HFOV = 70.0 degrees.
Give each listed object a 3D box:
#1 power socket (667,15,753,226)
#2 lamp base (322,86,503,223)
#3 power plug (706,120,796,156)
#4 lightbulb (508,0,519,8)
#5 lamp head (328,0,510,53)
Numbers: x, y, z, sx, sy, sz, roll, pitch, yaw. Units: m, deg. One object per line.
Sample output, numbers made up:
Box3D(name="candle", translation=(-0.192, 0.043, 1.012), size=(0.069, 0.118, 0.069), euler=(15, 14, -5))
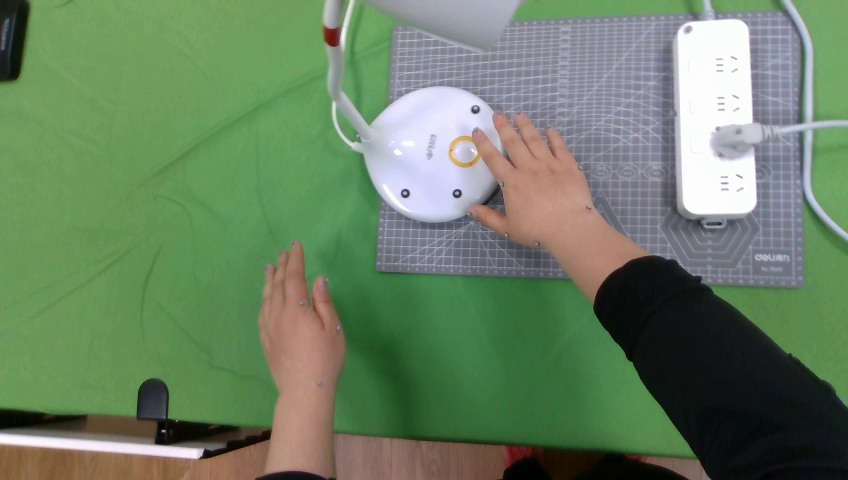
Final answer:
Box3D(name="power socket", translation=(0.297, -0.128, 0.634), size=(0.072, 0.033, 0.226), euler=(-1, 82, 10))
Box3D(name="lamp base", translation=(-0.019, -0.109, 0.618), size=(0.179, 0.181, 0.160), euler=(-3, 81, 14))
Box3D(name="power plug", translation=(0.322, -0.099, 0.606), size=(0.072, 0.053, 0.035), euler=(11, 85, 10))
Box3D(name="lightbulb", translation=(0.010, -0.159, 0.320), size=(0.108, 0.059, 0.059), euler=(15, 84, -15))
Box3D(name="lamp head", translation=(-0.015, -0.165, 0.321), size=(0.123, 0.112, 0.112), euler=(6, 83, -10))
